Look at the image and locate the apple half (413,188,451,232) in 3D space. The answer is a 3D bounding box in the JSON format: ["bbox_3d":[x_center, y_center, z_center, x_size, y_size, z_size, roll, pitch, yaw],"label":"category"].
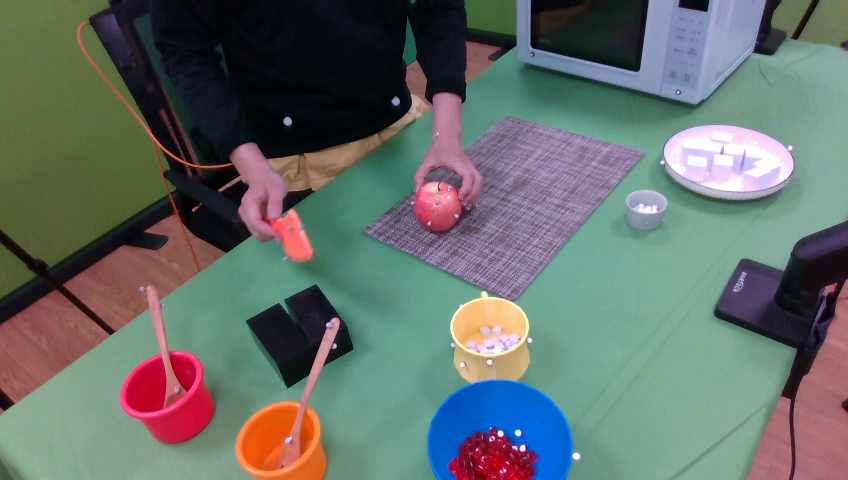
[{"bbox_3d":[0.006,-0.041,0.975,0.080,0.081,0.033,27,48,34],"label":"apple half"}]

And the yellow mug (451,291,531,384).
[{"bbox_3d":[0.085,0.120,0.786,0.100,0.064,0.130,-7,39,1],"label":"yellow mug"}]

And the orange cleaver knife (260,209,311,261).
[{"bbox_3d":[-0.200,-0.007,0.866,0.012,0.077,0.210,-20,12,-25],"label":"orange cleaver knife"}]

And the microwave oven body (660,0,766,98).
[{"bbox_3d":[0.473,-0.514,1.317,0.438,0.261,0.327,26,51,34],"label":"microwave oven body"}]

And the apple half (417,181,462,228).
[{"bbox_3d":[0.031,-0.061,0.997,0.080,0.075,0.053,25,46,37],"label":"apple half"}]

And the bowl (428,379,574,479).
[{"bbox_3d":[0.082,0.233,0.644,0.151,0.077,0.150,-4,39,4],"label":"bowl"}]

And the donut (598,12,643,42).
[{"bbox_3d":[0.437,-0.475,1.346,0.099,0.048,0.098,-16,26,8],"label":"donut"}]

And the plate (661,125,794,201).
[{"bbox_3d":[0.514,-0.128,1.035,0.207,0.039,0.206,-4,40,4],"label":"plate"}]

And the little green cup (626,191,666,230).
[{"bbox_3d":[0.352,-0.046,0.963,0.061,0.039,0.061,-4,40,4],"label":"little green cup"}]

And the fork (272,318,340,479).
[{"bbox_3d":[-0.131,0.186,0.676,0.028,0.019,0.207,17,90,28],"label":"fork"}]

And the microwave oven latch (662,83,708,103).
[{"bbox_3d":[0.518,-0.296,1.204,0.078,0.029,0.030,27,52,35],"label":"microwave oven latch"}]

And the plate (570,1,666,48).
[{"bbox_3d":[0.437,-0.485,1.370,0.209,0.038,0.208,-4,42,4],"label":"plate"}]

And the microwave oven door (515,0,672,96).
[{"bbox_3d":[0.344,-0.455,1.260,0.353,0.245,0.039,26,51,33],"label":"microwave oven door"}]

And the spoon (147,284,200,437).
[{"bbox_3d":[-0.318,0.148,0.754,0.042,0.021,0.193,-15,85,-9],"label":"spoon"}]
